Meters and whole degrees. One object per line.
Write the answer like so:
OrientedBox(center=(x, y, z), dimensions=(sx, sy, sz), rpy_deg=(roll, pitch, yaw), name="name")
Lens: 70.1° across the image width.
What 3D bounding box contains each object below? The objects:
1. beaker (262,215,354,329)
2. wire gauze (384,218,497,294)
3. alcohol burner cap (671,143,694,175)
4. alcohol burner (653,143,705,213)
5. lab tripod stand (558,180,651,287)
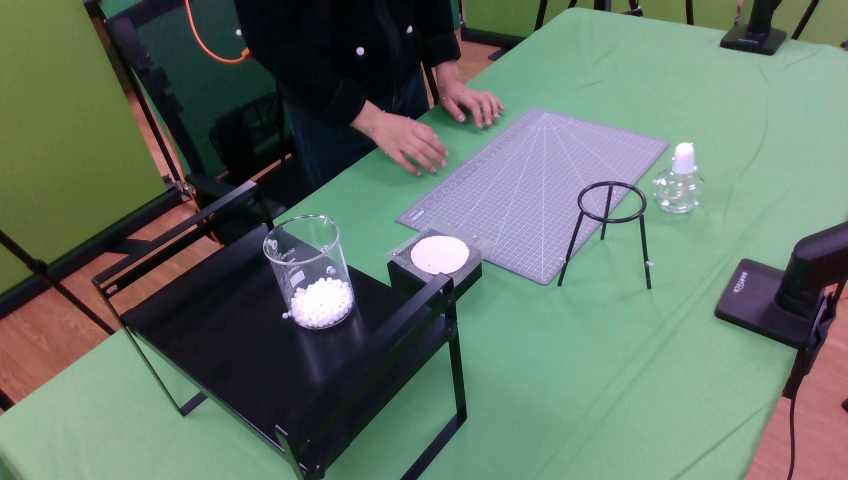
OrientedBox(center=(-0.112, 0.034, 0.616), dimensions=(0.073, 0.101, 0.084), rpy_deg=(13, 44, 23), name="beaker")
OrientedBox(center=(0.024, 0.016, 0.886), dimensions=(0.124, 0.011, 0.122), rpy_deg=(28, 49, 33), name="wire gauze")
OrientedBox(center=(0.403, -0.129, 0.941), dimensions=(0.034, 0.048, 0.033), rpy_deg=(-9, 39, 8), name="alcohol burner cap")
OrientedBox(center=(0.408, -0.103, 0.963), dimensions=(0.078, 0.119, 0.077), rpy_deg=(-5, 41, 5), name="alcohol burner")
OrientedBox(center=(0.258, -0.005, 0.857), dimensions=(0.148, 0.132, 0.147), rpy_deg=(-4, 43, 4), name="lab tripod stand")
